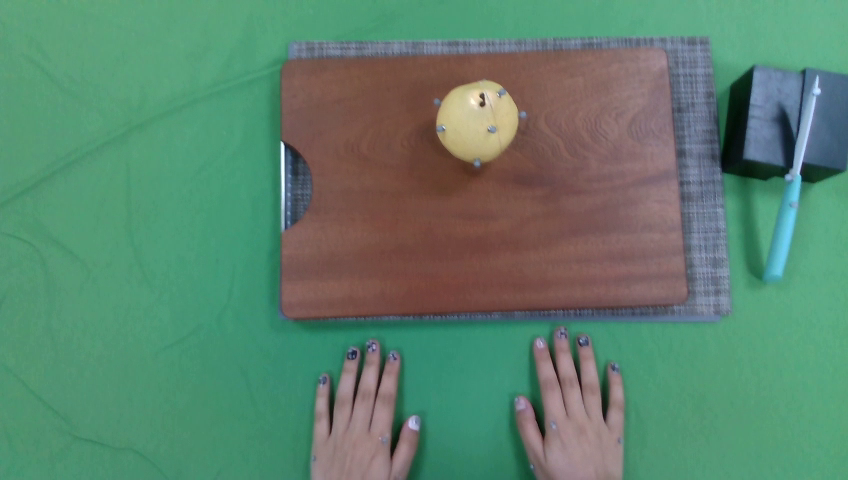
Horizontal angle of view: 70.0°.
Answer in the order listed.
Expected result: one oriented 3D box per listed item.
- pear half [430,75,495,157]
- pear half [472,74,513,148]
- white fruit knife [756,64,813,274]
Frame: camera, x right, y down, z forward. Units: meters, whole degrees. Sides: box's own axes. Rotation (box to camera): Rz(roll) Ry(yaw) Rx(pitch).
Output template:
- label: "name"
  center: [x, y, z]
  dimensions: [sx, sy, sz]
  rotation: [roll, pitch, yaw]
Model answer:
- label: "pear half"
  center: [0.034, -0.116, 0.561]
  dimensions: [0.056, 0.110, 0.076]
  rotation: [-23, 79, -2]
- label: "pear half"
  center: [0.067, -0.127, 0.573]
  dimensions: [0.031, 0.088, 0.070]
  rotation: [-24, 78, -2]
- label: "white fruit knife"
  center: [0.353, -0.064, 0.589]
  dimensions: [0.016, 0.027, 0.208]
  rotation: [6, 104, 8]
